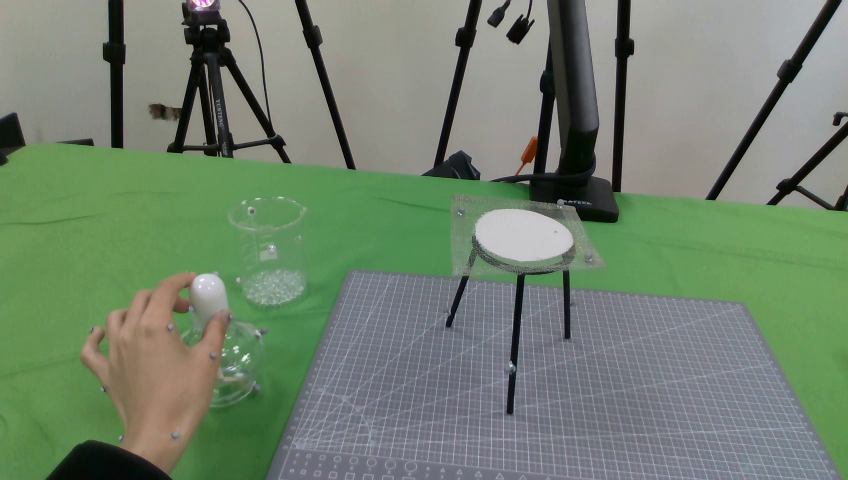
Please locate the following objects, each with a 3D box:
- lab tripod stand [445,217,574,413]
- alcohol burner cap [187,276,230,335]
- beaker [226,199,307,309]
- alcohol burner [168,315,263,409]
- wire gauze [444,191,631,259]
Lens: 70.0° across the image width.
[{"bbox_3d":[0.083,0.059,0.552,0.148,0.132,0.147,3,33,-2],"label":"lab tripod stand"},{"bbox_3d":[-0.178,0.050,0.496,0.034,0.048,0.033,5,37,-4],"label":"alcohol burner cap"},{"bbox_3d":[-0.162,0.016,0.645,0.084,0.101,0.073,-18,37,-30],"label":"beaker"},{"bbox_3d":[-0.178,0.084,0.516,0.078,0.120,0.077,4,29,-2],"label":"alcohol burner"},{"bbox_3d":[0.092,-0.014,0.511,0.125,0.011,0.120,-2,26,-21],"label":"wire gauze"}]
